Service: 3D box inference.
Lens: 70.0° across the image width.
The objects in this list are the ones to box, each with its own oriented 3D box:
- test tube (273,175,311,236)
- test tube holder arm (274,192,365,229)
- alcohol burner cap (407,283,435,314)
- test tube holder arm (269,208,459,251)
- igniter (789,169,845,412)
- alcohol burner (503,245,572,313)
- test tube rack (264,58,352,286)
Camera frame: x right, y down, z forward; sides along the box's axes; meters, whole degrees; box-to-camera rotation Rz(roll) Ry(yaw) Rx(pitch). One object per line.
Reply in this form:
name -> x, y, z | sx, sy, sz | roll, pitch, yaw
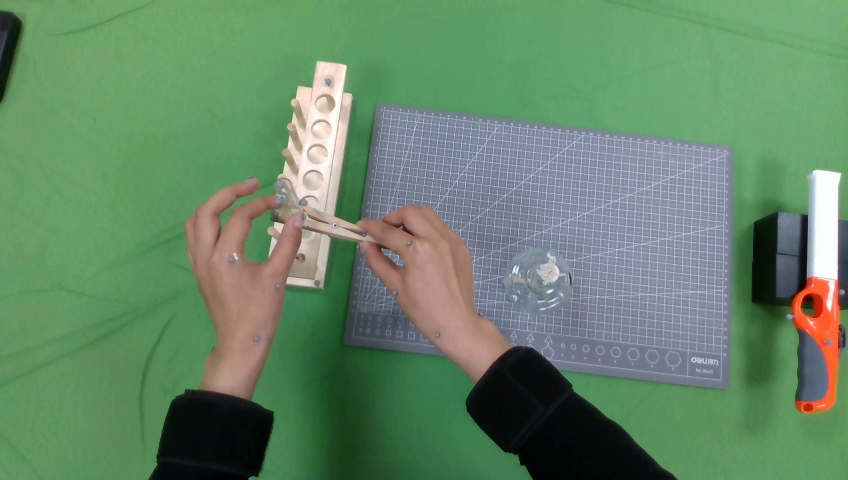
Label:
test tube -> -0.119, -0.028, 0.560 | 0.017, 0.150, 0.017 | 1, 76, -4
test tube holder arm -> -0.097, -0.025, 0.569 | 0.088, 0.015, 0.010 | 20, 69, 0
alcohol burner cap -> -0.002, 0.064, 0.685 | 0.034, 0.048, 0.033 | 1, 77, -3
test tube holder arm -> -0.055, -0.009, 0.568 | 0.178, 0.015, 0.013 | 11, 70, -3
igniter -> 0.439, 0.054, 0.675 | 0.057, 0.025, 0.275 | 9, 78, 5
alcohol burner -> 0.127, 0.041, 0.661 | 0.078, 0.119, 0.077 | 0, 80, -1
test tube rack -> -0.135, -0.076, 0.686 | 0.067, 0.085, 0.241 | 8, 79, -1
